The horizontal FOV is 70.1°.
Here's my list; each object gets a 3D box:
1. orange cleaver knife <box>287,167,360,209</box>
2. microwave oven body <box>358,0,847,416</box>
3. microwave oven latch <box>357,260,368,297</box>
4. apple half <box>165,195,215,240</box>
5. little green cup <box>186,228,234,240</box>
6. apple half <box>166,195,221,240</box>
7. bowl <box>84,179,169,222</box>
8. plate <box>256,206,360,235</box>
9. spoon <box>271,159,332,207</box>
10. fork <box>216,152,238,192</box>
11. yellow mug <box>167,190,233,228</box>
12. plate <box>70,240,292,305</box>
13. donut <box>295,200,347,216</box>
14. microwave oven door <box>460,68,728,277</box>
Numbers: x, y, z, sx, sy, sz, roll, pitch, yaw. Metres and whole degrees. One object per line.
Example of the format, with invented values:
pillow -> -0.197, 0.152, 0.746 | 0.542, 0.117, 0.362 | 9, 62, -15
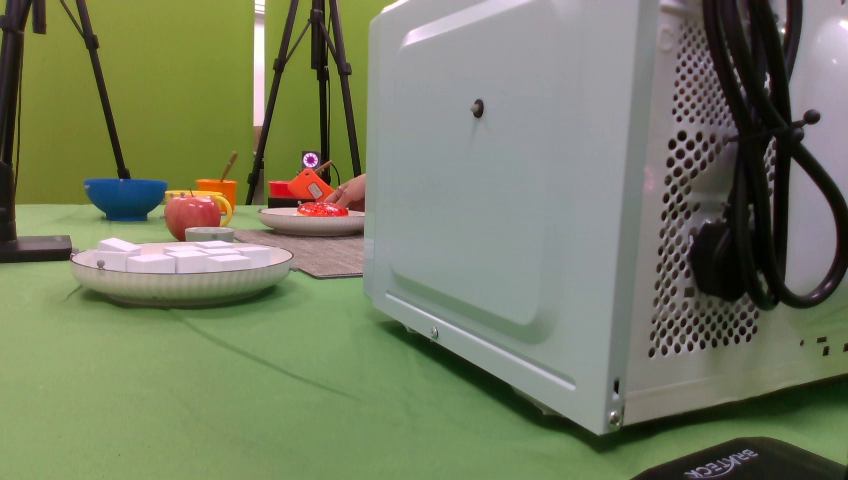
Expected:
orange cleaver knife -> -0.209, -0.089, 1.383 | 0.212, 0.077, 0.012 | 31, 3, -15
microwave oven body -> 0.211, -0.047, 0.474 | 0.444, 0.260, 0.324 | -1, 8, -28
microwave oven latch -> -0.019, 0.033, 0.531 | 0.079, 0.029, 0.030 | -1, 7, -27
apple half -> -0.377, -0.038, 0.964 | 0.082, 0.081, 0.032 | -4, 15, -39
little green cup -> -0.284, 0.005, 0.805 | 0.061, 0.038, 0.061 | 2, 8, 0
apple half -> -0.351, -0.031, 0.935 | 0.081, 0.074, 0.053 | 1, 11, -40
bowl -> -0.584, -0.078, 1.194 | 0.151, 0.077, 0.151 | 3, 8, 0
plate -> -0.201, -0.037, 1.119 | 0.209, 0.038, 0.209 | 2, 7, 0
spoon -> -0.307, -0.142, 1.514 | 0.193, 0.021, 0.041 | -41, 5, 8
fork -> -0.455, -0.132, 1.366 | 0.028, 0.018, 0.207 | -2, -35, -37
yellow mug -> -0.415, -0.057, 1.132 | 0.130, 0.064, 0.100 | 6, 8, 16
plate -> -0.241, 0.031, 0.618 | 0.208, 0.039, 0.207 | 2, 8, 0
donut -> -0.193, -0.049, 1.133 | 0.099, 0.048, 0.099 | 4, 8, 0
microwave oven door -> 0.203, -0.096, 0.810 | 0.354, 0.243, 0.039 | 9, 11, 39
